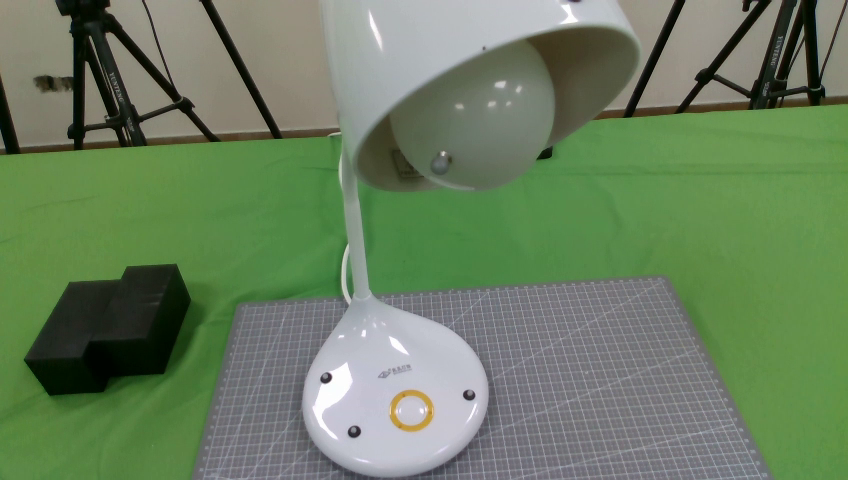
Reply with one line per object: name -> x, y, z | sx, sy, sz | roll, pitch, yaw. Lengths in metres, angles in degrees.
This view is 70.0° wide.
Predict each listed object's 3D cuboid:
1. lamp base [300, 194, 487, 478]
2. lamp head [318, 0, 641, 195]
lamp base -> -0.036, 0.065, 0.483 | 0.161, 0.182, 0.177 | -22, 40, -23
lamp head -> 0.007, -0.091, 0.239 | 0.112, 0.113, 0.122 | -17, 71, -17
